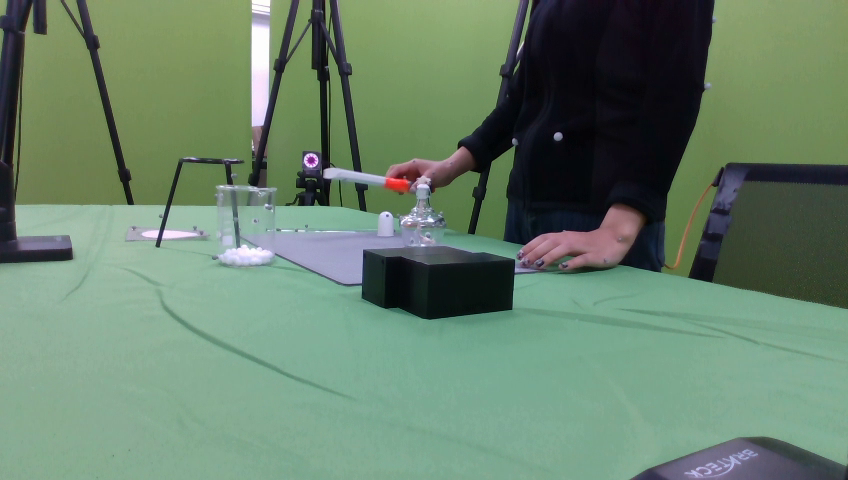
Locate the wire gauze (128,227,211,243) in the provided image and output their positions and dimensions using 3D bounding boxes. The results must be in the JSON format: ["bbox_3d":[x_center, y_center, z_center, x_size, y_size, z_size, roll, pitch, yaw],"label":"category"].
[{"bbox_3d":[-0.420,-0.010,0.999,0.122,0.011,0.124,-2,10,-24],"label":"wire gauze"}]

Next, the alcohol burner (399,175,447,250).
[{"bbox_3d":[-0.001,-0.044,0.961,0.078,0.119,0.078,0,8,0],"label":"alcohol burner"}]

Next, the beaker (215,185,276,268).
[{"bbox_3d":[-0.226,-0.019,0.773,0.074,0.100,0.084,5,7,14],"label":"beaker"}]

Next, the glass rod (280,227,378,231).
[{"bbox_3d":[-0.175,-0.021,1.161,0.200,0.008,0.008,0,7,-15],"label":"glass rod"}]

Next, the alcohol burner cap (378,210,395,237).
[{"bbox_3d":[-0.069,-0.031,1.112,0.034,0.048,0.034,1,8,0],"label":"alcohol burner cap"}]

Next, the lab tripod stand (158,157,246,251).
[{"bbox_3d":[-0.314,-0.055,0.891,0.148,0.131,0.148,2,9,0],"label":"lab tripod stand"}]

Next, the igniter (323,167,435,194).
[{"bbox_3d":[-0.079,-0.114,1.178,0.057,0.025,0.278,2,-1,41],"label":"igniter"}]
